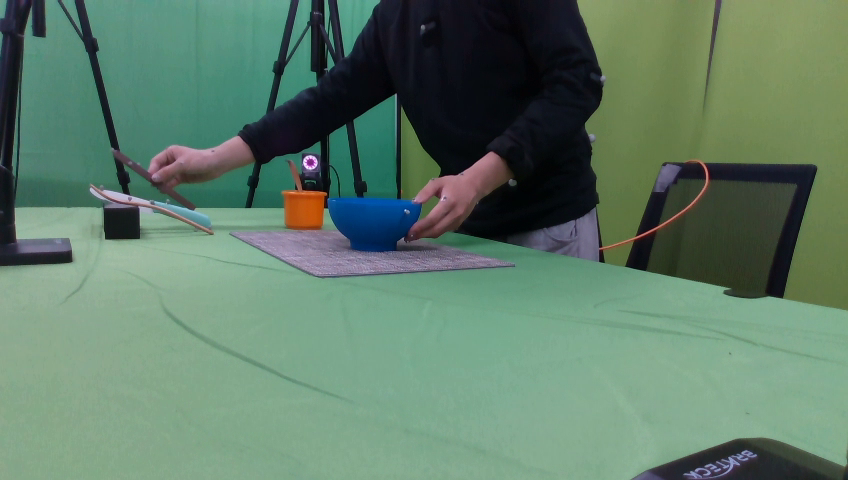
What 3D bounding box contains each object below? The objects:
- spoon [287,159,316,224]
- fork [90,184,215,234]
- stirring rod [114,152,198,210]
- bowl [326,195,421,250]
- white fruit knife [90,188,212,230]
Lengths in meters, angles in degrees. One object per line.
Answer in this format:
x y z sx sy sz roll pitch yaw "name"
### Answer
-0.261 -0.104 1.264 0.042 0.193 0.021 -1 -37 -28 "spoon"
-0.452 -0.049 1.018 0.208 0.018 0.028 21 -7 -33 "fork"
-0.505 -0.109 1.145 0.006 0.014 0.177 -11 -41 42 "stirring rod"
-0.081 -0.027 0.957 0.151 0.077 0.151 2 7 0 "bowl"
-0.478 -0.058 1.073 0.208 0.027 0.016 17 -4 -30 "white fruit knife"
